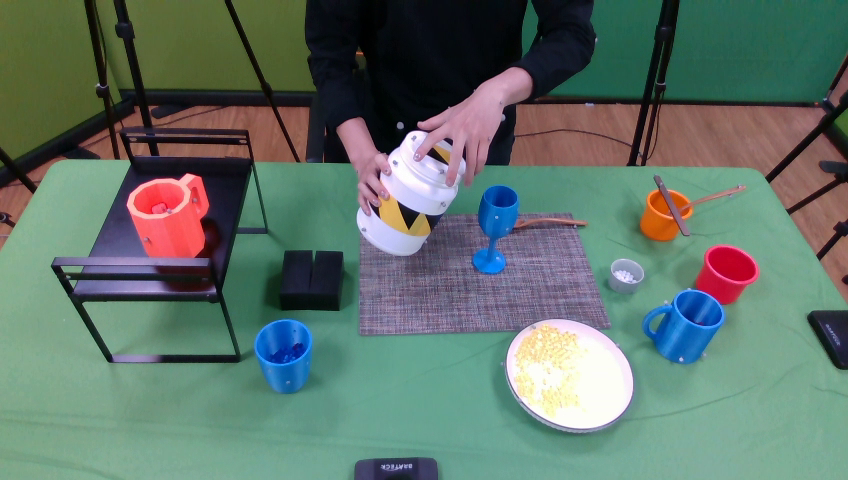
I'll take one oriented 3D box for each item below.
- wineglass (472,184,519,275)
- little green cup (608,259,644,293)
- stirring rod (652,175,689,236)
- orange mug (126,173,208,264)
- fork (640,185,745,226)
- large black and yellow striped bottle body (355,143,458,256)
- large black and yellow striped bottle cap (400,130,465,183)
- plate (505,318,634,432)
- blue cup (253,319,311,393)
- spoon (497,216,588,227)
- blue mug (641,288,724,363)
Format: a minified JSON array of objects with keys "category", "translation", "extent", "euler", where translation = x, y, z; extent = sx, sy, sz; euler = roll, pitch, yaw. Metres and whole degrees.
[{"category":"wineglass","translation":[0.129,-0.018,1.113],"extent":[0.074,0.173,0.073],"euler":[2,46,-2]},{"category":"little green cup","translation":[0.379,0.070,1.147],"extent":[0.061,0.039,0.061],"euler":[3,46,-3]},{"category":"stirring rod","translation":[0.491,-0.072,1.211],"extent":[0.014,0.006,0.175],"euler":[-1,47,-6]},{"category":"orange mug","translation":[-0.371,-0.040,0.902],"extent":[0.083,0.101,0.126],"euler":[18,52,13]},{"category":"fork","translation":[0.534,-0.069,1.215],"extent":[0.207,0.019,0.028],"euler":[-26,27,33]},{"category":"large black and yellow striped bottle body","translation":[-0.025,-0.078,1.033],"extent":[0.131,0.184,0.130],"euler":[23,35,-17]},{"category":"large black and yellow striped bottle cap","translation":[0.015,-0.137,0.986],"extent":[0.115,0.019,0.114],"euler":[25,34,-18]},{"category":"plate","translation":[0.235,0.221,0.991],"extent":[0.209,0.038,0.208],"euler":[2,45,-2]},{"category":"blue cup","translation":[-0.217,0.187,0.943],"extent":[0.093,0.101,0.092],"euler":[4,45,-3]},{"category":"spoon","translation":[0.246,-0.039,1.247],"extent":[0.194,0.022,0.041],"euler":[-1,25,-6]},{"category":"blue mug","translation":[0.432,0.144,1.033],"extent":[0.116,0.106,0.082],"euler":[8,46,5]}]
